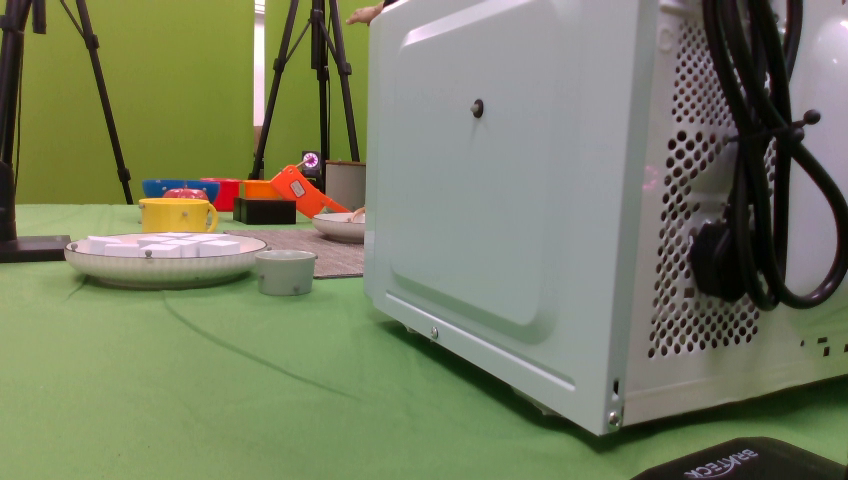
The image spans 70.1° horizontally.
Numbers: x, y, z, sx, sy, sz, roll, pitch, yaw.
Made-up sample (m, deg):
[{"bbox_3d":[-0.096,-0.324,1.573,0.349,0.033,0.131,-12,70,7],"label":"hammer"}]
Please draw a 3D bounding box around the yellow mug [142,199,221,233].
[{"bbox_3d":[-0.373,-0.030,0.948,0.099,0.064,0.131,6,7,30],"label":"yellow mug"}]

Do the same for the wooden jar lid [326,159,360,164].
[{"bbox_3d":[-0.185,-0.186,1.481,0.108,0.020,0.108,3,6,0],"label":"wooden jar lid"}]

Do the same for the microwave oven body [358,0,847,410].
[{"bbox_3d":[0.210,-0.051,0.471,0.444,0.260,0.324,-1,7,-28],"label":"microwave oven body"}]

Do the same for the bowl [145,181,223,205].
[{"bbox_3d":[-0.499,-0.081,1.261,0.151,0.077,0.151,2,8,0],"label":"bowl"}]

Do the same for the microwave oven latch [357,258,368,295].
[{"bbox_3d":[-0.019,0.031,0.529,0.079,0.029,0.030,-1,7,-26],"label":"microwave oven latch"}]

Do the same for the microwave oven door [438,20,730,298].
[{"bbox_3d":[0.181,-0.076,0.618,0.358,0.243,0.039,-2,8,-28],"label":"microwave oven door"}]

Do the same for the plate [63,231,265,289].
[{"bbox_3d":[-0.288,0.021,0.687,0.208,0.039,0.207,2,8,0],"label":"plate"}]

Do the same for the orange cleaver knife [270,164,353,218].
[{"bbox_3d":[-0.240,-0.088,1.329,0.212,0.077,0.012,36,-9,-33],"label":"orange cleaver knife"}]

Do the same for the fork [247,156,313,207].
[{"bbox_3d":[-0.361,-0.147,1.523,0.207,0.018,0.028,-43,12,-6],"label":"fork"}]

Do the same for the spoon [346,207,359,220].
[{"bbox_3d":[-0.126,-0.047,1.117,0.041,0.021,0.194,-3,18,15],"label":"spoon"}]

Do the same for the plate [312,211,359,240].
[{"bbox_3d":[-0.091,-0.026,1.063,0.209,0.038,0.209,2,7,0],"label":"plate"}]

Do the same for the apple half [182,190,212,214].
[{"bbox_3d":[-0.402,-0.054,1.090,0.033,0.081,0.081,0,7,12],"label":"apple half"}]

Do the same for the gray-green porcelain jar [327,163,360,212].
[{"bbox_3d":[-0.186,-0.125,1.490,0.106,0.126,0.106,2,7,0],"label":"gray-green porcelain jar"}]

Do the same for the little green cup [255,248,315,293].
[{"bbox_3d":[-0.144,0.031,0.627,0.061,0.038,0.061,2,6,0],"label":"little green cup"}]

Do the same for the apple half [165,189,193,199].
[{"bbox_3d":[-0.441,-0.055,1.097,0.053,0.074,0.081,0,10,11],"label":"apple half"}]
